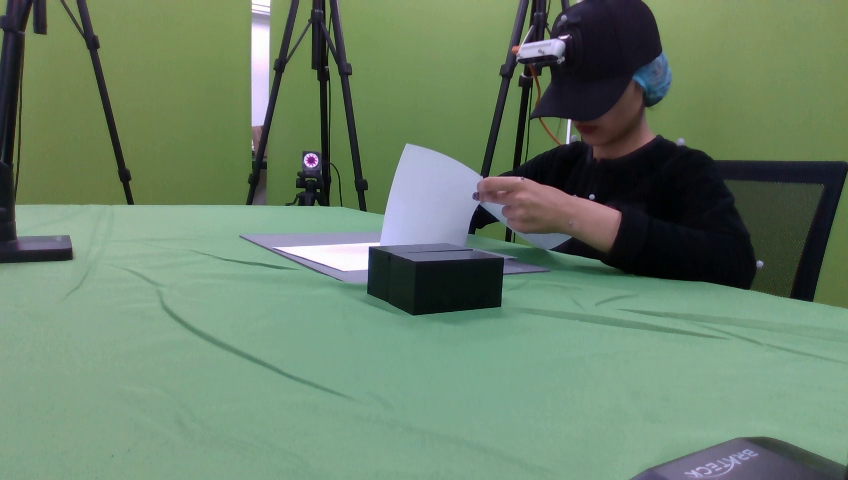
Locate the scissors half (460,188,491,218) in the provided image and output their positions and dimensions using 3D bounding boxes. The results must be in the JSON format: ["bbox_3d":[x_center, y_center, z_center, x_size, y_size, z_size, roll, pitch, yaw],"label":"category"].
[{"bbox_3d":[0.085,-0.064,0.989,0.013,0.040,0.175,26,-12,-6],"label":"scissors half"}]

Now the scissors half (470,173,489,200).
[{"bbox_3d":[0.094,-0.083,0.990,0.013,0.040,0.175,21,12,-6],"label":"scissors half"}]
